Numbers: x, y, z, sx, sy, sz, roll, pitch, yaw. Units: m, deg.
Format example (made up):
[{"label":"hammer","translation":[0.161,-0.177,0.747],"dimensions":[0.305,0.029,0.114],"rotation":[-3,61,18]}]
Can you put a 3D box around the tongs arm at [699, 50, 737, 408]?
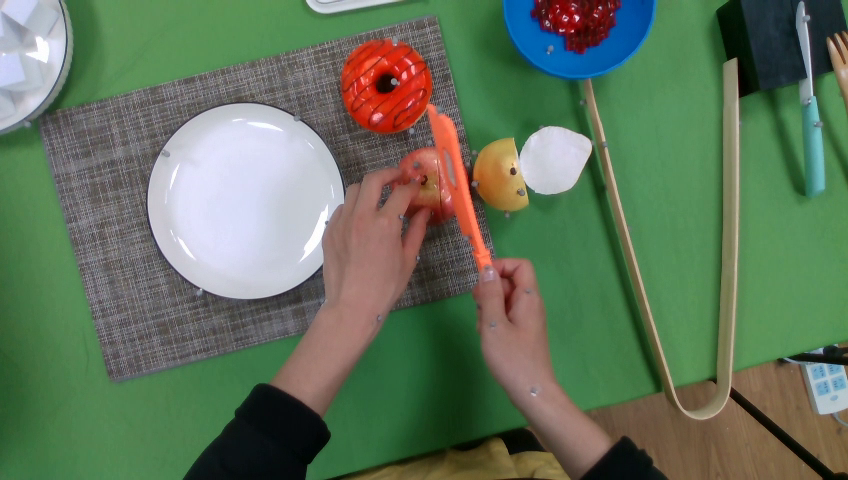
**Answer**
[{"label":"tongs arm","translation":[0.324,-0.009,0.663],"dimensions":[0.028,0.027,0.387],"rotation":[-1,93,-8]}]

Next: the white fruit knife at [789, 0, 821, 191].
[{"label":"white fruit knife","translation":[0.395,-0.147,0.631],"dimensions":[0.016,0.027,0.208],"rotation":[-17,107,0]}]

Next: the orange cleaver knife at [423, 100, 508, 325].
[{"label":"orange cleaver knife","translation":[0.037,-0.024,0.552],"dimensions":[0.012,0.076,0.212],"rotation":[-20,106,-6]}]

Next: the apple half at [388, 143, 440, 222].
[{"label":"apple half","translation":[-0.010,-0.058,0.632],"dimensions":[0.053,0.074,0.081],"rotation":[-5,95,4]}]

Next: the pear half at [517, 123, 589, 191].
[{"label":"pear half","translation":[0.141,-0.091,0.645],"dimensions":[0.088,0.031,0.070],"rotation":[-21,93,41]}]

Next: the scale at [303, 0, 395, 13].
[{"label":"scale","translation":[-0.074,-0.354,0.642],"dimensions":[0.149,0.031,0.201],"rotation":[-10,93,1]}]

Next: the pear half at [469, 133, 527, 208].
[{"label":"pear half","translation":[0.075,-0.068,0.617],"dimensions":[0.056,0.110,0.076],"rotation":[-21,89,6]}]

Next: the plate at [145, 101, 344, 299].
[{"label":"plate","translation":[-0.187,-0.042,0.649],"dimensions":[0.209,0.038,0.209],"rotation":[0,92,0]}]

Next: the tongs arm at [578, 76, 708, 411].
[{"label":"tongs arm","translation":[0.239,0.005,0.659],"dimensions":[0.051,0.026,0.385],"rotation":[-15,94,-4]}]

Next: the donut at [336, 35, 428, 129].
[{"label":"donut","translation":[-0.045,-0.166,0.641],"dimensions":[0.099,0.048,0.099],"rotation":[0,94,2]}]

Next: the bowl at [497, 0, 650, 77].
[{"label":"bowl","translation":[0.146,-0.237,0.626],"dimensions":[0.151,0.077,0.151],"rotation":[0,93,0]}]

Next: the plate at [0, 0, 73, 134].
[{"label":"plate","translation":[-0.474,-0.212,0.643],"dimensions":[0.208,0.039,0.207],"rotation":[0,92,0]}]

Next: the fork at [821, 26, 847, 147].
[{"label":"fork","translation":[0.452,-0.123,0.640],"dimensions":[0.028,0.018,0.208],"rotation":[-24,108,-2]}]

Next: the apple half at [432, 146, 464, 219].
[{"label":"apple half","translation":[0.025,-0.061,0.629],"dimensions":[0.033,0.081,0.081],"rotation":[-8,92,-4]}]
